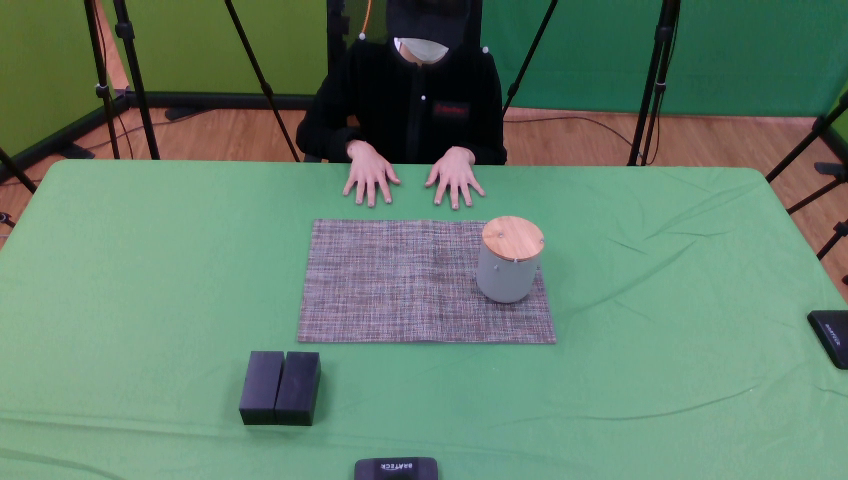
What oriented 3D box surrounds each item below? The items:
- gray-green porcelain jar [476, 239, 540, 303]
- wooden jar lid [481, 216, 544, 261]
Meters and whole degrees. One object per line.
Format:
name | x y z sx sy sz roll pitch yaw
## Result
gray-green porcelain jar | 0.149 0.044 1.090 0.106 0.127 0.105 2 46 -2
wooden jar lid | 0.152 0.001 1.045 0.108 0.021 0.107 4 44 -3
